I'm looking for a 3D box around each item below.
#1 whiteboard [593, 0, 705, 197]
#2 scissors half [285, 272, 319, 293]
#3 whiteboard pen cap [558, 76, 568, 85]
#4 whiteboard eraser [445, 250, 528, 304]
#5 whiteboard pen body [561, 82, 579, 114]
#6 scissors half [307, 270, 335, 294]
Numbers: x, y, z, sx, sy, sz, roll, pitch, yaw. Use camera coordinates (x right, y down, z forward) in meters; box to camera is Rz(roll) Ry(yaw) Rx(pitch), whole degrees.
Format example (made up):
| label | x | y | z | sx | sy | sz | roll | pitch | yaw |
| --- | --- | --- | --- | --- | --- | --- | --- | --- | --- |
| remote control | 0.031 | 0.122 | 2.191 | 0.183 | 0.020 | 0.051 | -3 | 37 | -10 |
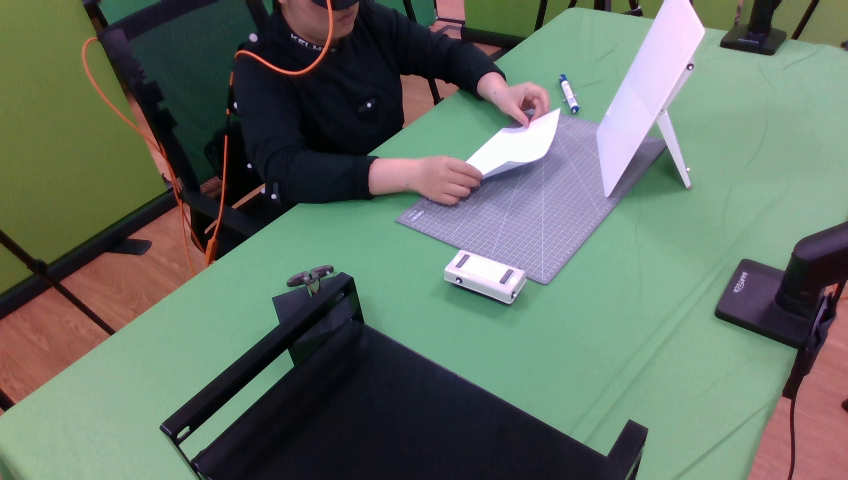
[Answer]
| label | x | y | z | sx | sy | sz | roll | pitch | yaw |
| --- | --- | --- | --- | --- | --- | --- | --- | --- | --- |
| whiteboard | 0.421 | -0.227 | 1.009 | 0.144 | 0.305 | 0.216 | 17 | 41 | -3 |
| scissors half | -0.171 | 0.064 | 0.868 | 0.040 | 0.013 | 0.174 | -12 | 8 | -21 |
| whiteboard pen cap | 0.310 | -0.350 | 1.340 | 0.018 | 0.018 | 0.033 | -6 | 41 | 2 |
| whiteboard eraser | 0.090 | 0.056 | 0.882 | 0.112 | 0.042 | 0.056 | 17 | 44 | 27 |
| whiteboard pen body | 0.310 | -0.311 | 1.297 | 0.017 | 0.017 | 0.140 | -6 | 41 | 2 |
| scissors half | -0.151 | 0.061 | 0.872 | 0.040 | 0.013 | 0.175 | -5 | 6 | -4 |
